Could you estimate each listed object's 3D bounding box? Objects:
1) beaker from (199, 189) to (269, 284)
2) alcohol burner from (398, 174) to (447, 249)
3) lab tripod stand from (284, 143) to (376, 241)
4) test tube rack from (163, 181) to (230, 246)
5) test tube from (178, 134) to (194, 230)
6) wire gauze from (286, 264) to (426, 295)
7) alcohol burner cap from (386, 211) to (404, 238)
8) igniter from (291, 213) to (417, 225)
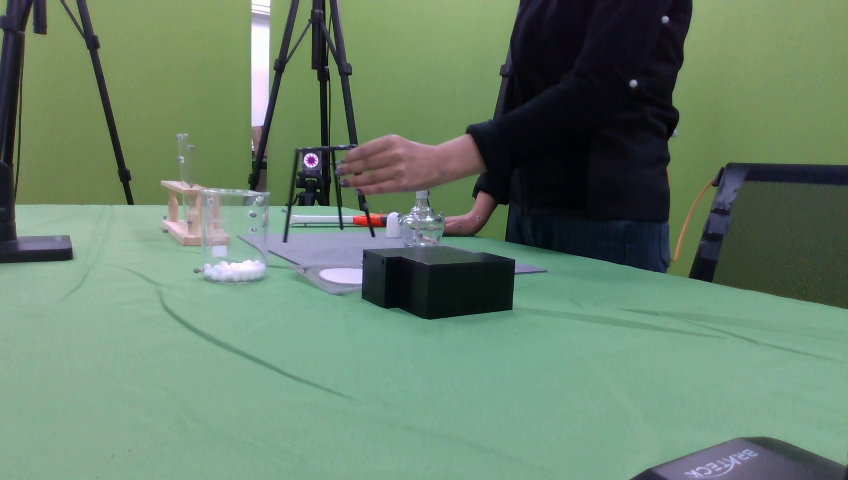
[{"bbox_3d":[-0.209,-0.006,0.676,0.073,0.100,0.084,7,8,28],"label":"beaker"},{"bbox_3d":[-0.003,-0.046,0.973,0.078,0.119,0.078,0,7,0],"label":"alcohol burner"},{"bbox_3d":[-0.136,-0.070,0.869,0.148,0.131,0.148,-3,11,1],"label":"lab tripod stand"},{"bbox_3d":[-0.387,-0.050,1.015,0.067,0.085,0.241,-2,9,-30],"label":"test tube rack"},{"bbox_3d":[-0.367,-0.089,0.938,0.017,0.150,0.017,-1,9,1],"label":"test tube"},{"bbox_3d":[-0.079,0.039,0.692,0.122,0.011,0.124,-4,11,-37],"label":"wire gauze"},{"bbox_3d":[-0.053,-0.029,1.107,0.034,0.048,0.034,2,9,0],"label":"alcohol burner cap"},{"bbox_3d":[-0.144,-0.044,1.275,0.278,0.025,0.057,-1,-2,-27],"label":"igniter"}]
